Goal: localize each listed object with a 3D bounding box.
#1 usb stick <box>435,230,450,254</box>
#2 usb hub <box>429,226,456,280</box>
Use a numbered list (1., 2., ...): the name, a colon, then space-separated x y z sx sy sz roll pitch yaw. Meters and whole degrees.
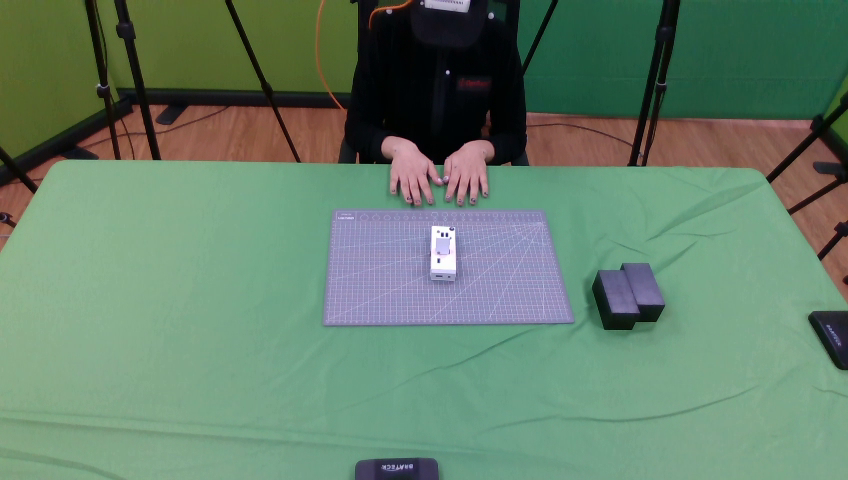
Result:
1. usb stick: 0.034 0.009 1.146 0.027 0.059 0.021 3 46 -4
2. usb hub: 0.037 0.024 1.173 0.049 0.025 0.124 3 46 -1
